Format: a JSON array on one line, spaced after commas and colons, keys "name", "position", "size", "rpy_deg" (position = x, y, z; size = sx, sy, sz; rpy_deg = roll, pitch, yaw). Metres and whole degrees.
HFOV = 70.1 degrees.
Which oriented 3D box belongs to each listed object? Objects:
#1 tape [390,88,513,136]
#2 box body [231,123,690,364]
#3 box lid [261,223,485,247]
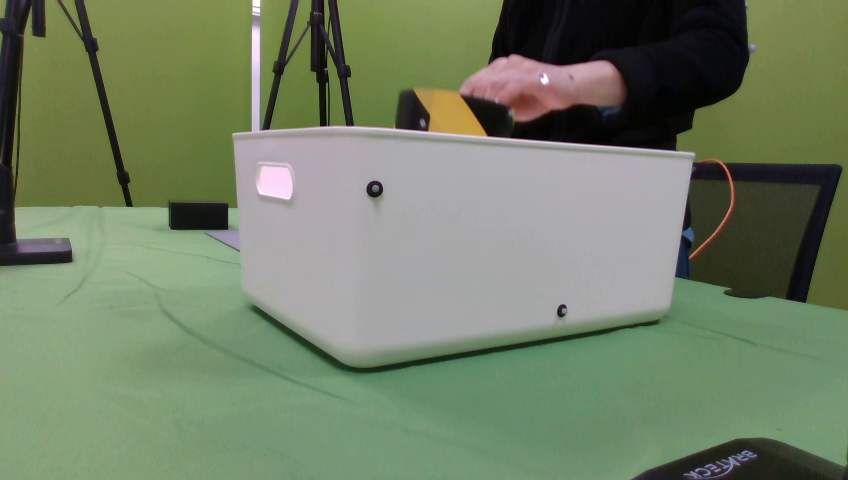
[{"name": "tape", "position": [0.023, -0.102, 0.562], "size": [0.117, 0.052, 0.117], "rpy_deg": [10, 4, 0]}, {"name": "box body", "position": [0.031, -0.013, 0.563], "size": [0.366, 0.160, 0.253], "rpy_deg": [-3, 8, -33]}, {"name": "box lid", "position": [-0.100, -0.009, 1.085], "size": [0.373, 0.015, 0.262], "rpy_deg": [0, 7, -15]}]
